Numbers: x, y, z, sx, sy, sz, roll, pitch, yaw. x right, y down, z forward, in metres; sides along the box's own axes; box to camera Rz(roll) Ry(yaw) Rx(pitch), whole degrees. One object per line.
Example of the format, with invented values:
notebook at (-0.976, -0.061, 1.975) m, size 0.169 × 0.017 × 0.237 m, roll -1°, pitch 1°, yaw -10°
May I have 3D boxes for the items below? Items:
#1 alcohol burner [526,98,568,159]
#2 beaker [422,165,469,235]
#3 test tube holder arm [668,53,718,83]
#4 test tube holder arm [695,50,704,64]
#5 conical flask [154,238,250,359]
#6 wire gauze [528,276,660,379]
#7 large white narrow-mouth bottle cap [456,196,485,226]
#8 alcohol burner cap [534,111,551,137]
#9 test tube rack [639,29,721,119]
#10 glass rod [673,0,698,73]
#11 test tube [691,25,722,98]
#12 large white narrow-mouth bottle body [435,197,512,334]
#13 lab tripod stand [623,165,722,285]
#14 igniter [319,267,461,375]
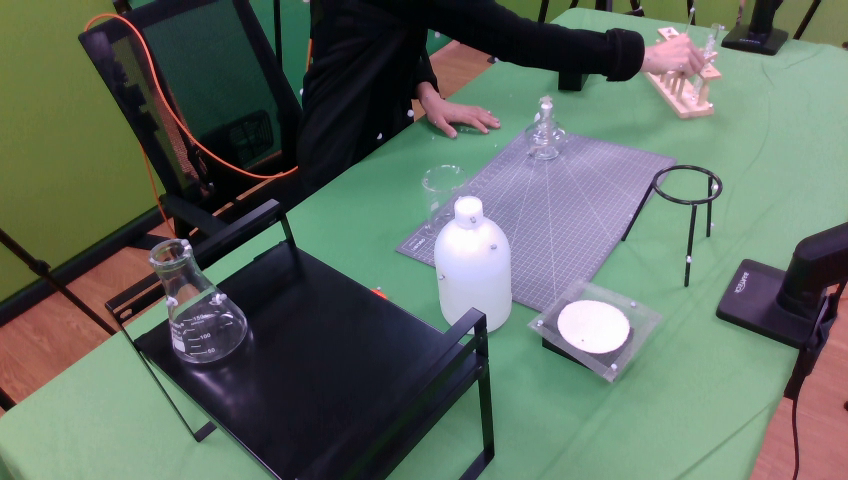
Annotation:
alcohol burner at (0.228, -0.210, 1.118) m, size 0.078 × 0.119 × 0.077 m, roll -5°, pitch 43°, yaw 5°
beaker at (0.041, -0.063, 0.986) m, size 0.073 × 0.101 × 0.084 m, roll 20°, pitch 47°, yaw 29°
test tube holder arm at (0.499, -0.319, 1.117) m, size 0.013 × 0.015 × 0.179 m, roll 28°, pitch 44°, yaw 36°
test tube holder arm at (0.522, -0.341, 1.148) m, size 0.010 × 0.015 × 0.088 m, roll 15°, pitch 38°, yaw 21°
conical flask at (-0.225, 0.055, 0.597) m, size 0.075 × 0.122 × 0.075 m, roll -5°, pitch 41°, yaw 4°
wire gauze at (0.214, 0.103, 0.763) m, size 0.124 × 0.011 × 0.122 m, roll 30°, pitch 53°, yaw 35°
large white narrow-mouth bottle cap at (0.057, -0.037, 0.749) m, size 0.038 × 0.024 × 0.037 m, roll -4°, pitch 40°, yaw 4°
alcohol burner cap at (0.234, -0.231, 1.197) m, size 0.034 × 0.048 × 0.033 m, roll -6°, pitch 37°, yaw 5°
test tube rack at (0.527, -0.351, 1.262) m, size 0.067 × 0.085 × 0.241 m, roll -7°, pitch 40°, yaw 1°
glass rod at (0.538, -0.424, 1.244) m, size 0.008 × 0.200 × 0.008 m, roll 0°, pitch 47°, yaw 1°
test tube at (0.545, -0.343, 1.170) m, size 0.017 × 0.151 × 0.017 m, roll -1°, pitch 45°, yaw 1°
large white narrow-mouth bottle body at (0.066, 0.028, 0.805) m, size 0.102 × 0.195 × 0.101 m, roll -4°, pitch 40°, yaw 4°
lab tripod stand at (0.365, -0.030, 0.874) m, size 0.148 × 0.132 × 0.147 m, roll -6°, pitch 41°, yaw 6°
igniter at (-0.060, 0.108, 0.862) m, size 0.274 × 0.025 × 0.057 m, roll 29°, pitch 62°, yaw 35°
